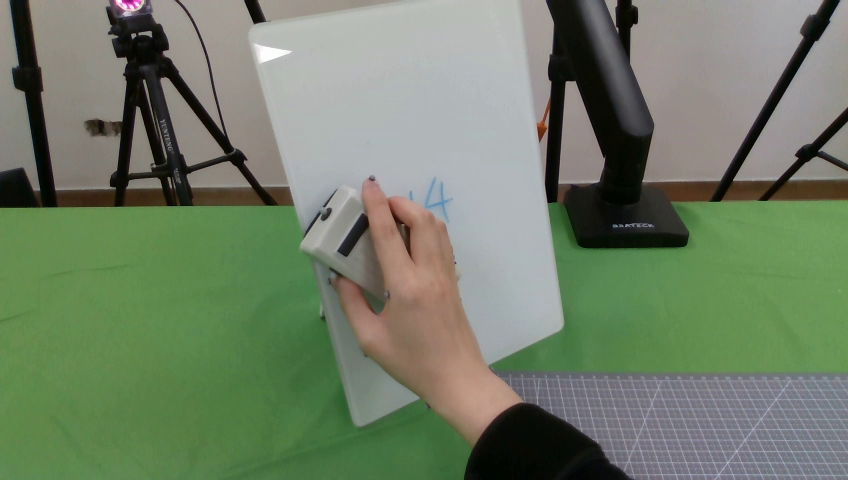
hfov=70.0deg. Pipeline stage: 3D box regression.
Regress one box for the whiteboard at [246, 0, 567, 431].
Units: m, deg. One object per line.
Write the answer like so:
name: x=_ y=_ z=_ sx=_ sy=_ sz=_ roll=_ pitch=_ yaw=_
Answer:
whiteboard: x=-0.021 y=-0.038 z=0.528 sx=0.218 sy=0.307 sz=0.142 roll=-20 pitch=19 yaw=-24

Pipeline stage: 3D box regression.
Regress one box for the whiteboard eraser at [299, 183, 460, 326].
whiteboard eraser: x=-0.030 y=0.012 z=0.434 sx=0.055 sy=0.114 sz=0.041 roll=-59 pitch=28 yaw=-10
